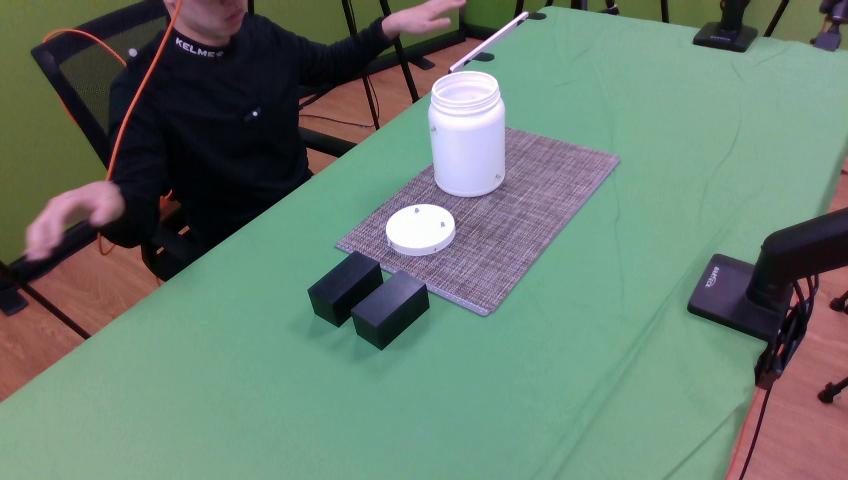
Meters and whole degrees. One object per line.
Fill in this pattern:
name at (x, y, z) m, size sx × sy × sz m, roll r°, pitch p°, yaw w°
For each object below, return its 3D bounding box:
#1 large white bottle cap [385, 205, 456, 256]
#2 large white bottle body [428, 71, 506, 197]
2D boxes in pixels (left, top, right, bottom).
large white bottle cap at (-0.006, -0.018, 0.987) m, size 0.115 × 0.018 × 0.114 m, roll -4°, pitch 40°, yaw 4°
large white bottle body at (0.075, -0.181, 1.038) m, size 0.130 × 0.185 × 0.130 m, roll -4°, pitch 41°, yaw 4°
